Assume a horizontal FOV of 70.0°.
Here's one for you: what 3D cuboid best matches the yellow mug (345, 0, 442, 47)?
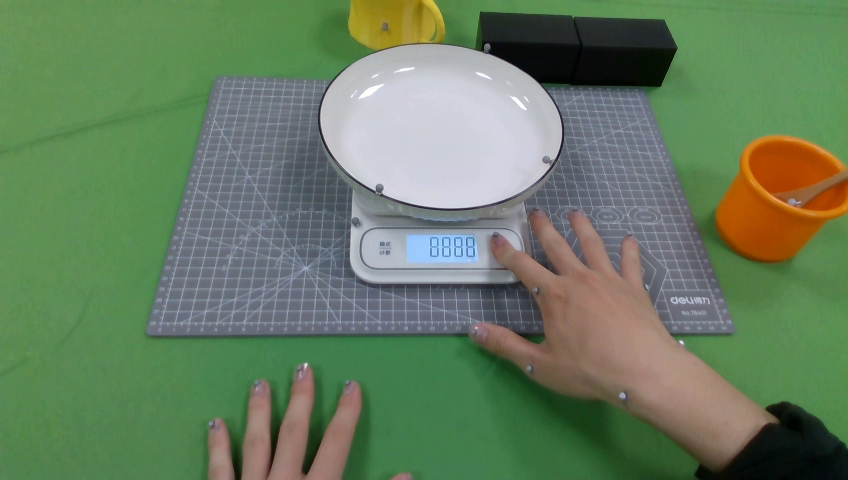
[{"bbox_3d":[-0.028,-0.260,0.664,0.130,0.064,0.100,40,61,22],"label":"yellow mug"}]

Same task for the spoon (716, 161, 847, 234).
[{"bbox_3d":[0.336,-0.054,0.488,0.022,0.193,0.041,28,45,-41],"label":"spoon"}]

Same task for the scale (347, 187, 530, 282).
[{"bbox_3d":[0.010,-0.053,0.531,0.149,0.032,0.199,0,54,-4],"label":"scale"}]

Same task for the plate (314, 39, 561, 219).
[{"bbox_3d":[0.011,-0.096,0.522,0.209,0.038,0.207,3,54,-4],"label":"plate"}]
